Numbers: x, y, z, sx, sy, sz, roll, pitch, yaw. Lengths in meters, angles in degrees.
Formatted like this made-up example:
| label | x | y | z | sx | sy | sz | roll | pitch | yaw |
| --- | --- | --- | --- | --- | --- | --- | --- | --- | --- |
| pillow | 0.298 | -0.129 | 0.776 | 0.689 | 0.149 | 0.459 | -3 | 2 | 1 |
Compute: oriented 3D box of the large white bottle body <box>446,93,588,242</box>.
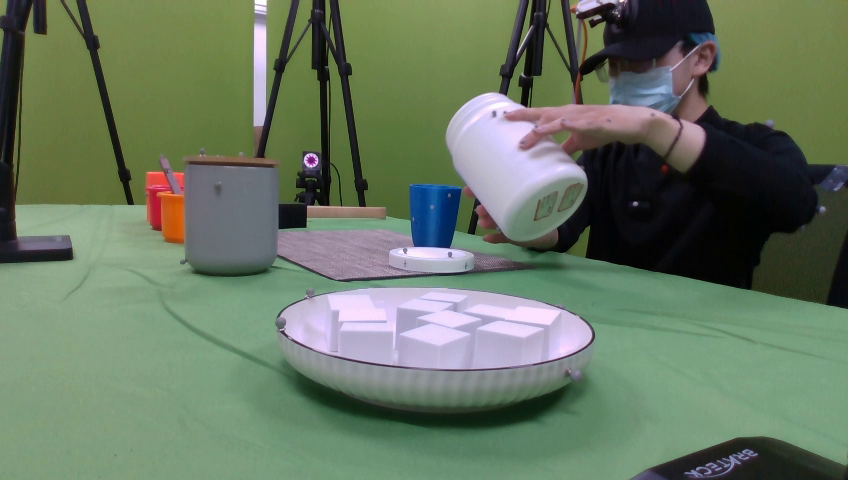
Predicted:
| label | x | y | z | sx | sy | sz | roll | pitch | yaw |
| --- | --- | --- | --- | --- | --- | --- | --- | --- | --- |
| large white bottle body | 0.119 | -0.104 | 0.826 | 0.131 | 0.130 | 0.184 | -4 | 48 | -39 |

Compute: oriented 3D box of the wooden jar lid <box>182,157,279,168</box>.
| label | x | y | z | sx | sy | sz | roll | pitch | yaw |
| --- | --- | --- | --- | --- | --- | --- | --- | --- | --- |
| wooden jar lid | -0.227 | -0.086 | 0.714 | 0.108 | 0.020 | 0.108 | 1 | 6 | 0 |

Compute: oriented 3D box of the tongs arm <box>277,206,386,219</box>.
| label | x | y | z | sx | sy | sz | roll | pitch | yaw |
| --- | --- | --- | --- | --- | --- | --- | --- | --- | --- |
| tongs arm | -0.252 | -0.062 | 1.360 | 0.387 | 0.026 | 0.050 | -1 | 4 | -31 |

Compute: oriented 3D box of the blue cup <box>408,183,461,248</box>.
| label | x | y | z | sx | sy | sz | roll | pitch | yaw |
| --- | --- | --- | --- | --- | --- | --- | --- | --- | --- |
| blue cup | 0.015 | -0.039 | 0.970 | 0.093 | 0.100 | 0.092 | 2 | 9 | 0 |

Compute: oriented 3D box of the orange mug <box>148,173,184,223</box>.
| label | x | y | z | sx | sy | sz | roll | pitch | yaw |
| --- | --- | --- | --- | --- | --- | --- | --- | --- | --- |
| orange mug | -0.490 | -0.087 | 1.222 | 0.127 | 0.101 | 0.083 | -9 | 13 | -38 |

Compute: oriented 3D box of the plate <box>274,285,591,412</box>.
| label | x | y | z | sx | sy | sz | roll | pitch | yaw |
| --- | --- | --- | --- | --- | --- | --- | --- | --- | --- |
| plate | 0.005 | 0.069 | 0.408 | 0.208 | 0.039 | 0.207 | 2 | 7 | 0 |

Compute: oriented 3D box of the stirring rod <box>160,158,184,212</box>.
| label | x | y | z | sx | sy | sz | roll | pitch | yaw |
| --- | --- | --- | --- | --- | --- | --- | --- | --- | --- |
| stirring rod | -0.390 | -0.070 | 0.972 | 0.014 | 0.006 | 0.175 | -1 | 49 | -49 |

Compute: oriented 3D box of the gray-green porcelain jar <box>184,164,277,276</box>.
| label | x | y | z | sx | sy | sz | roll | pitch | yaw |
| --- | --- | --- | --- | --- | --- | --- | --- | --- | --- |
| gray-green porcelain jar | -0.230 | -0.025 | 0.722 | 0.106 | 0.126 | 0.106 | 3 | 7 | 0 |

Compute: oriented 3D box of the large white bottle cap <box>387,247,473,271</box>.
| label | x | y | z | sx | sy | sz | roll | pitch | yaw |
| --- | --- | --- | --- | --- | --- | --- | --- | --- | --- |
| large white bottle cap | 0.009 | 0.024 | 0.804 | 0.115 | 0.018 | 0.115 | 2 | 7 | 0 |

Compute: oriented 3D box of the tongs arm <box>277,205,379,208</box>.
| label | x | y | z | sx | sy | sz | roll | pitch | yaw |
| --- | --- | --- | --- | --- | --- | --- | --- | --- | --- |
| tongs arm | -0.288 | -0.070 | 1.435 | 0.389 | 0.027 | 0.028 | 1 | 0 | -18 |

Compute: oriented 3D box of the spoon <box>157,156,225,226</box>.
| label | x | y | z | sx | sy | sz | roll | pitch | yaw |
| --- | --- | --- | --- | --- | --- | --- | --- | --- | --- |
| spoon | -0.425 | -0.094 | 1.117 | 0.041 | 0.022 | 0.194 | 5 | 51 | 29 |
